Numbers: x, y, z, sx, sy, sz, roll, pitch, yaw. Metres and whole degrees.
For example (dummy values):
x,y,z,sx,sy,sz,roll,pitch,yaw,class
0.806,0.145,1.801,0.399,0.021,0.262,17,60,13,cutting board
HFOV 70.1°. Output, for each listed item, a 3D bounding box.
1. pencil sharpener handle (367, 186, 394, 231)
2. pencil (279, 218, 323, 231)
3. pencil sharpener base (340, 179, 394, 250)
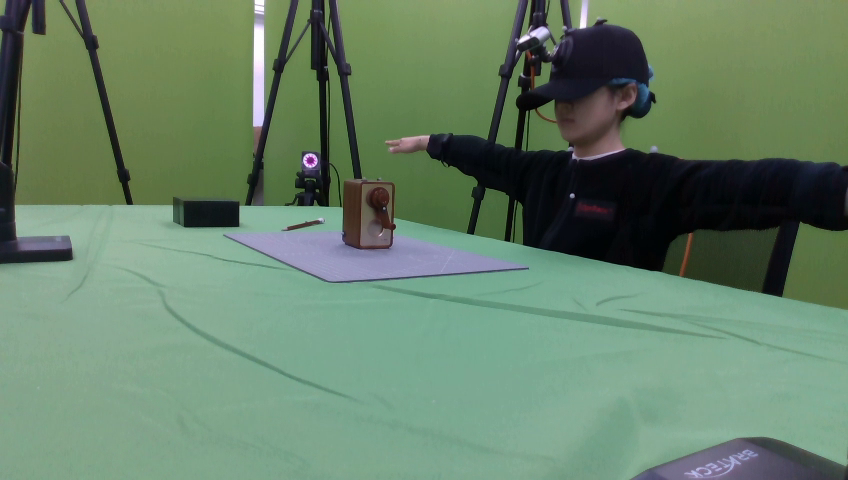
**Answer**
x,y,z,sx,sy,sz,roll,pitch,yaw,class
-0.061,-0.047,0.916,0.036,0.068,0.030,-19,17,-26,pencil sharpener handle
-0.246,-0.031,1.222,0.012,0.012,0.194,5,9,14,pencil
-0.091,-0.041,0.959,0.061,0.107,0.076,-1,9,-30,pencil sharpener base
